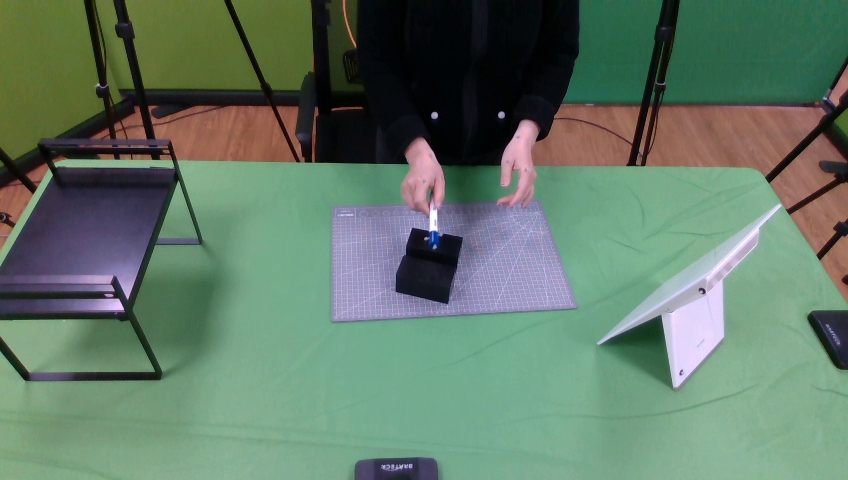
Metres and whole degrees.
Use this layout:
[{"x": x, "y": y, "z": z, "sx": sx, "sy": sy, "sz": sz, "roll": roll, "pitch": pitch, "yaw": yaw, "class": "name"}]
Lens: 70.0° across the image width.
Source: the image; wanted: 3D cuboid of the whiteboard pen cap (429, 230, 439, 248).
[{"x": 0.018, "y": -0.003, "z": 1.067, "sx": 0.018, "sy": 0.018, "sz": 0.033, "roll": 3, "pitch": 42, "yaw": -1, "class": "whiteboard pen cap"}]

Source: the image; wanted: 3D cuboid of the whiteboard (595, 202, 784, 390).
[{"x": 0.459, "y": 0.112, "z": 0.968, "sx": 0.217, "sy": 0.306, "sz": 0.143, "roll": -31, "pitch": 75, "yaw": -29, "class": "whiteboard"}]

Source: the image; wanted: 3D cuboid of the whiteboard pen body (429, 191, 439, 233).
[{"x": 0.018, "y": -0.042, "z": 1.109, "sx": 0.017, "sy": 0.017, "sz": 0.140, "roll": 1, "pitch": 42, "yaw": -3, "class": "whiteboard pen body"}]
